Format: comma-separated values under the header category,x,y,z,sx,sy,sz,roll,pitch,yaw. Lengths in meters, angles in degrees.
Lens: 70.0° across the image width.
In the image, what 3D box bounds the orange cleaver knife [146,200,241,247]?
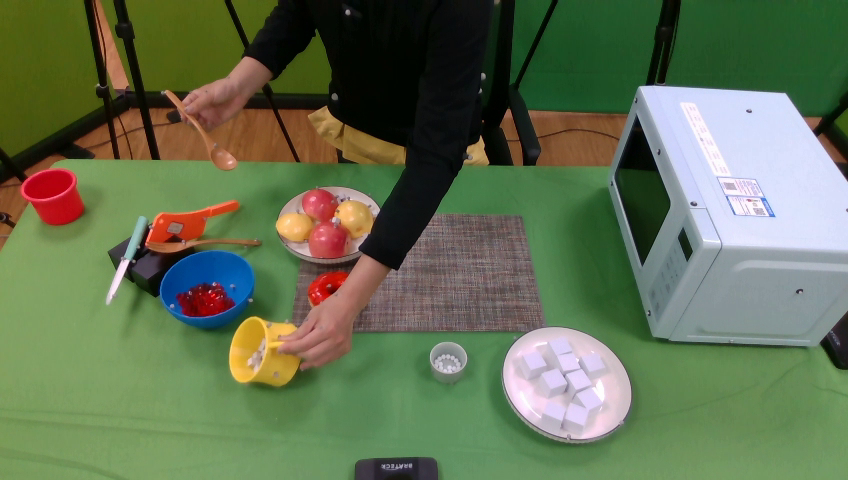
category,x,y,z,sx,sy,sz,roll,pitch,yaw
orange cleaver knife,-0.435,-0.033,1.157,0.012,0.077,0.211,31,26,19

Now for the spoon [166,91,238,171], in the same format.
category,x,y,z,sx,sy,sz,roll,pitch,yaw
spoon,-0.413,-0.203,1.123,0.041,0.021,0.193,-37,90,-36

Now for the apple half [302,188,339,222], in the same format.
category,x,y,z,sx,sy,sz,roll,pitch,yaw
apple half,-0.205,-0.076,1.217,0.081,0.033,0.081,18,46,-19

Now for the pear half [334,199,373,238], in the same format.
category,x,y,z,sx,sy,sz,roll,pitch,yaw
pear half,-0.147,-0.060,1.210,0.076,0.056,0.109,-16,44,-25

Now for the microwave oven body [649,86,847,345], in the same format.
category,x,y,z,sx,sy,sz,roll,pitch,yaw
microwave oven body,0.568,-0.053,1.118,0.326,0.261,0.439,2,45,-1

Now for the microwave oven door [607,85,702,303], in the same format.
category,x,y,z,sx,sy,sz,roll,pitch,yaw
microwave oven door,0.423,-0.094,1.140,0.039,0.245,0.353,2,46,-1

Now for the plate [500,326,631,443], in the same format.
category,x,y,z,sx,sy,sz,roll,pitch,yaw
plate,0.224,0.234,0.978,0.208,0.039,0.206,2,46,-2

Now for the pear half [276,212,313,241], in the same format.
category,x,y,z,sx,sy,sz,roll,pitch,yaw
pear half,-0.244,-0.035,1.178,0.070,0.031,0.088,40,42,2

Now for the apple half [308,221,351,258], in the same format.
category,x,y,z,sx,sy,sz,roll,pitch,yaw
apple half,-0.180,-0.005,1.150,0.074,0.053,0.080,14,42,9

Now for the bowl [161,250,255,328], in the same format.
category,x,y,z,sx,sy,sz,roll,pitch,yaw
bowl,-0.362,0.097,1.040,0.151,0.077,0.150,2,45,-2

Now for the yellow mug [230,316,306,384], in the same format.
category,x,y,z,sx,sy,sz,roll,pitch,yaw
yellow mug,-0.236,0.168,0.936,0.064,0.130,0.099,20,60,-46

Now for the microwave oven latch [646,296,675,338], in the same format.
category,x,y,z,sx,sy,sz,roll,pitch,yaw
microwave oven latch,0.412,0.134,1.061,0.030,0.029,0.078,4,45,1

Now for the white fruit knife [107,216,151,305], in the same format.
category,x,y,z,sx,sy,sz,roll,pitch,yaw
white fruit knife,-0.518,0.032,1.066,0.027,0.016,0.206,-18,45,19

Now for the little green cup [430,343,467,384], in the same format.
category,x,y,z,sx,sy,sz,roll,pitch,yaw
little green cup,0.039,0.203,0.993,0.061,0.039,0.061,2,46,-2

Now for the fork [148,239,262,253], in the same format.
category,x,y,z,sx,sy,sz,roll,pitch,yaw
fork,-0.398,0.008,1.117,0.208,0.019,0.028,-5,34,-37

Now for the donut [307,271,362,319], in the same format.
category,x,y,z,sx,sy,sz,roll,pitch,yaw
donut,-0.157,0.097,1.072,0.099,0.048,0.098,4,45,-4

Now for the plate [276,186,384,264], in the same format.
category,x,y,z,sx,sy,sz,roll,pitch,yaw
plate,-0.184,-0.027,1.195,0.209,0.038,0.208,2,46,-2
